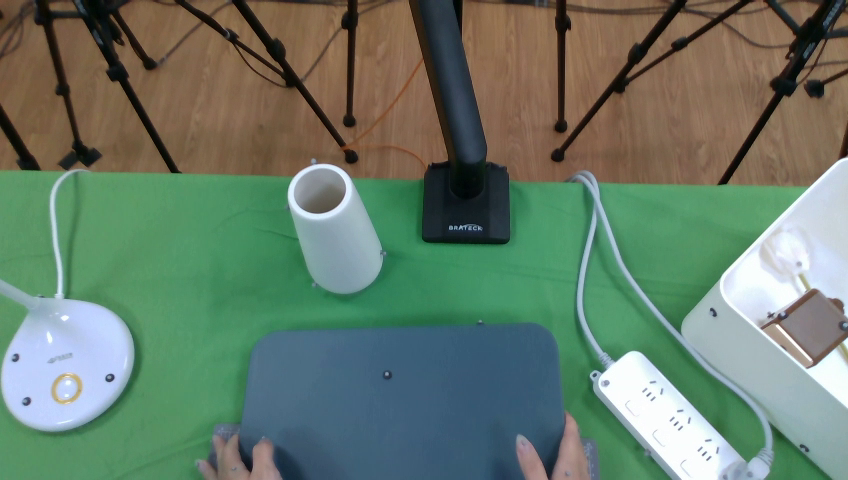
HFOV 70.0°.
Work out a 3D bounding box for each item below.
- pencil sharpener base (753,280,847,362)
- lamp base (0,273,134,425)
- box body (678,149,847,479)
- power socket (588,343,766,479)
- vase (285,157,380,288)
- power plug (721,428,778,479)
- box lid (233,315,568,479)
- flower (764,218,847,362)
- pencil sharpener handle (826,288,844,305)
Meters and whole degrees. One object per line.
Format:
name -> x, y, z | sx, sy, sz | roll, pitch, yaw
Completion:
pencil sharpener base -> 0.422, 0.101, 0.695 | 0.076, 0.108, 0.061 | -33, 68, -12
lamp base -> -0.449, 0.104, 0.682 | 0.161, 0.181, 0.177 | -27, 65, -11
box body -> 0.503, 0.118, 0.662 | 0.254, 0.161, 0.361 | -39, 71, -15
power socket -> 0.288, 0.216, 0.695 | 0.072, 0.033, 0.225 | -36, 69, -14
vase -> -0.106, -0.016, 0.719 | 0.098, 0.201, 0.097 | 0, 64, 1
power plug -> 0.357, 0.241, 0.657 | 0.072, 0.053, 0.035 | -25, 65, -14
box lid -> -0.027, 0.216, 0.678 | 0.371, 0.015, 0.261 | -3, 67, 5
flower -> 0.512, 0.139, 0.731 | 0.044, 0.038, 0.359 | -24, 72, 18
pencil sharpener handle -> 0.464, 0.070, 0.694 | 0.030, 0.068, 0.035 | -33, 63, -12
